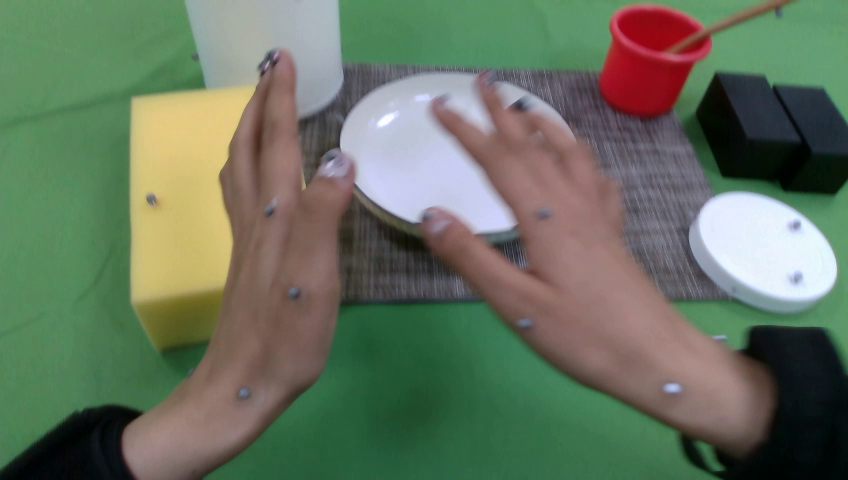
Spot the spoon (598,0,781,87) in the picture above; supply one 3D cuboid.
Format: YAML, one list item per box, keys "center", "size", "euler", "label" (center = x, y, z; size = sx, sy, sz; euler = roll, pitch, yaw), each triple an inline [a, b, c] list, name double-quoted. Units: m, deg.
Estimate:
- center: [0.260, -0.195, 0.577]
  size: [0.193, 0.022, 0.041]
  euler: [-24, 40, 33]
  label: "spoon"

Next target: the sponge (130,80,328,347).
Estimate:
- center: [-0.150, -0.031, 0.457]
  size: [0.118, 0.061, 0.204]
  euler: [-11, 52, -14]
  label: "sponge"

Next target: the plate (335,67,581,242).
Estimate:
- center: [0.029, -0.074, 0.524]
  size: [0.209, 0.038, 0.207]
  euler: [3, 50, -3]
  label: "plate"

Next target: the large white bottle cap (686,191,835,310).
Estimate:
- center: [0.275, 0.006, 0.497]
  size: [0.115, 0.018, 0.113]
  euler: [4, 51, -5]
  label: "large white bottle cap"

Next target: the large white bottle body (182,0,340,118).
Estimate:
- center: [-0.142, -0.215, 0.527]
  size: [0.131, 0.186, 0.129]
  euler: [2, 51, -3]
  label: "large white bottle body"
